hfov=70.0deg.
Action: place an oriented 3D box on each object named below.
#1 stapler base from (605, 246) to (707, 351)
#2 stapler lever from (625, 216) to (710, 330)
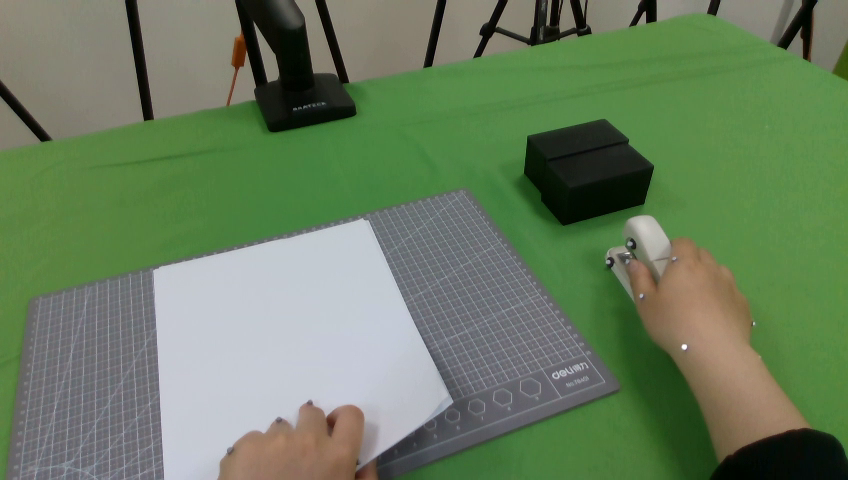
[{"bbox_3d":[0.210,0.044,0.552,0.041,0.024,0.129,-5,42,-12],"label":"stapler base"},{"bbox_3d":[0.213,0.025,0.534,0.027,0.040,0.116,-6,43,-12],"label":"stapler lever"}]
